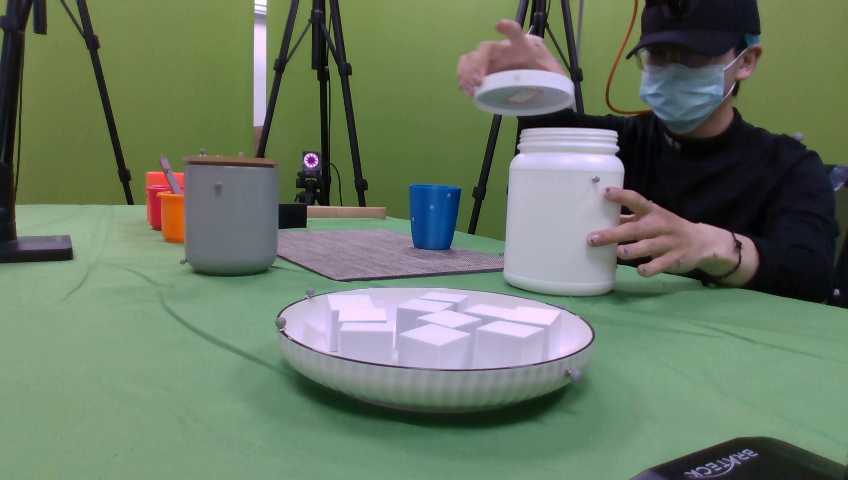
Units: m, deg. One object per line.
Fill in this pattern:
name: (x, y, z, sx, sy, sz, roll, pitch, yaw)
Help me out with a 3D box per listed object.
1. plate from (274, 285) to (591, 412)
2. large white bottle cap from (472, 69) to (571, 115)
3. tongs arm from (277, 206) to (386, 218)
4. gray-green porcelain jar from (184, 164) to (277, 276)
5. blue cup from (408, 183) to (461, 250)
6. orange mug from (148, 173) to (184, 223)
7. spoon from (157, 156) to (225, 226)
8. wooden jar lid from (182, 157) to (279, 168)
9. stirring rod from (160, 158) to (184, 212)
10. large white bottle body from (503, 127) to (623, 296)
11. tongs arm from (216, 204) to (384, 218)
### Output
plate: (0.005, 0.069, 0.408, 0.208, 0.039, 0.207, 2, 7, 0)
large white bottle cap: (0.113, -0.170, 0.704, 0.115, 0.018, 0.115, 2, -5, 0)
tongs arm: (-0.251, -0.063, 1.360, 0.387, 0.026, 0.050, -1, 3, -31)
gray-green porcelain jar: (-0.230, -0.025, 0.722, 0.106, 0.126, 0.106, 3, 7, 0)
blue cup: (0.015, -0.038, 0.970, 0.093, 0.100, 0.092, 2, 9, 0)
orange mug: (-0.490, -0.087, 1.222, 0.127, 0.101, 0.083, -9, 13, -38)
spoon: (-0.425, -0.094, 1.118, 0.041, 0.022, 0.194, 4, 51, 29)
wooden jar lid: (-0.227, -0.086, 0.714, 0.108, 0.020, 0.108, 1, 6, 0)
stirring rod: (-0.390, -0.070, 0.972, 0.014, 0.006, 0.175, -1, 49, -49)
large white bottle body: (0.162, -0.036, 0.707, 0.131, 0.184, 0.130, 2, 7, 0)
tongs arm: (-0.288, -0.069, 1.435, 0.389, 0.027, 0.028, 0, -1, -17)
